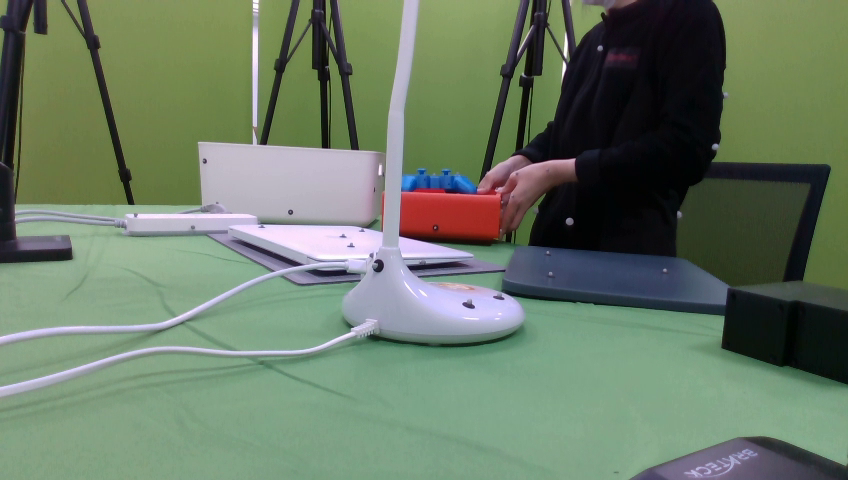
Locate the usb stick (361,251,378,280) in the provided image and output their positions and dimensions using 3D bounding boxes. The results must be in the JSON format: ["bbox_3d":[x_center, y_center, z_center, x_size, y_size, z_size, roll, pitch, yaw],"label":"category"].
[{"bbox_3d":[-0.051,0.033,0.656,0.027,0.021,0.059,4,-27,-21],"label":"usb stick"}]

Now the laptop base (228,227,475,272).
[{"bbox_3d":[-0.122,0.011,0.889,0.237,0.023,0.352,2,6,-35],"label":"laptop base"}]

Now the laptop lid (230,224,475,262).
[{"bbox_3d":[-0.119,0.000,0.889,0.243,0.013,0.355,1,7,-33],"label":"laptop lid"}]

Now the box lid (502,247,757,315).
[{"bbox_3d":[0.244,0.044,0.793,0.263,0.015,0.372,4,7,11],"label":"box lid"}]

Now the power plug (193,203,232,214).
[{"bbox_3d":[-0.393,-0.042,1.139,0.072,0.052,0.035,-14,2,31],"label":"power plug"}]

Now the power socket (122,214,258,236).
[{"bbox_3d":[-0.398,-0.028,1.049,0.228,0.032,0.072,-3,8,-34],"label":"power socket"}]

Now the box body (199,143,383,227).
[{"bbox_3d":[-0.276,-0.124,1.334,0.364,0.160,0.254,3,7,1],"label":"box body"}]

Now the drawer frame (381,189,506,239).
[{"bbox_3d":[0.045,-0.055,1.144,0.213,0.082,0.202,2,8,8],"label":"drawer frame"}]

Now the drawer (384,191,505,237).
[{"bbox_3d":[0.046,-0.055,1.144,0.211,0.073,0.194,2,10,8],"label":"drawer"}]

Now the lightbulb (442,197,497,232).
[{"bbox_3d":[0.083,-0.041,1.104,0.108,0.059,0.059,-20,12,-12],"label":"lightbulb"}]

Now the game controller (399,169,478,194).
[{"bbox_3d":[0.017,-0.106,1.139,0.156,0.051,0.097,0,3,-14],"label":"game controller"}]

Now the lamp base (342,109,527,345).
[{"bbox_3d":[0.006,-0.015,0.505,0.160,0.180,0.180,6,11,29],"label":"lamp base"}]
